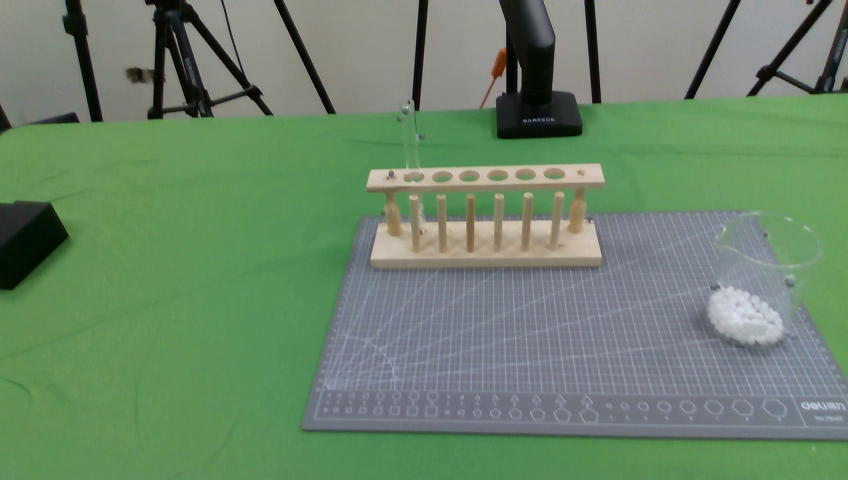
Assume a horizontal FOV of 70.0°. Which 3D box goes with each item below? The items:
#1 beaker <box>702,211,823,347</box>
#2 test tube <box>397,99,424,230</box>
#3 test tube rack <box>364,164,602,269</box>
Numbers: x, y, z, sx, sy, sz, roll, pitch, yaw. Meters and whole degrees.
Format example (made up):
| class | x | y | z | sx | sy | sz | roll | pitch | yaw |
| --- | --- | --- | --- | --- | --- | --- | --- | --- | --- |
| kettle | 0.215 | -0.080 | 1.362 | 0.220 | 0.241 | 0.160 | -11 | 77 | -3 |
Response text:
| class | x | y | z | sx | sy | sz | roll | pitch | yaw |
| --- | --- | --- | --- | --- | --- | --- | --- | --- | --- |
| beaker | 0.285 | 0.037 | 0.526 | 0.084 | 0.101 | 0.073 | -1 | 38 | 7 |
| test tube | -0.013 | -0.074 | 0.633 | 0.017 | 0.151 | 0.017 | -4 | 35 | 3 |
| test tube rack | 0.061 | -0.024 | 0.641 | 0.242 | 0.086 | 0.066 | -1 | 38 | 6 |
